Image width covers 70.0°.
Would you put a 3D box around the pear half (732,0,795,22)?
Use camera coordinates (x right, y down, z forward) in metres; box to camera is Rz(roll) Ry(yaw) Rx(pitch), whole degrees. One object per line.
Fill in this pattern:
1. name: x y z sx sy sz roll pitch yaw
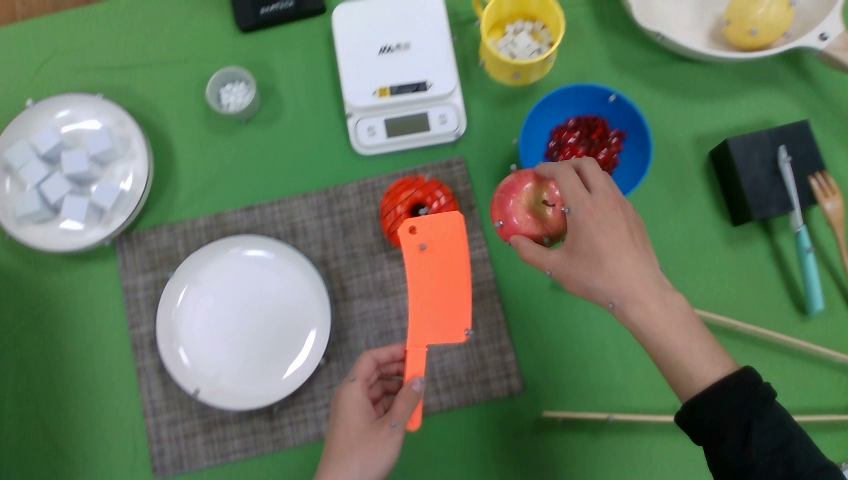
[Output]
1. pear half: 0.417 -0.300 0.736 0.070 0.088 0.031 21 83 9

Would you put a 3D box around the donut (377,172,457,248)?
1. donut: -0.009 -0.034 0.732 0.099 0.048 0.098 -1 81 4

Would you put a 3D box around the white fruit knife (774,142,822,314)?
1. white fruit knife: 0.430 -0.012 0.700 0.016 0.027 0.207 -16 95 1

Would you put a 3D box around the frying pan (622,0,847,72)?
1. frying pan: 0.438 -0.280 0.729 0.307 0.103 0.484 -40 74 -3

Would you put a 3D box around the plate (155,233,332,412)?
1. plate: -0.211 0.096 0.722 0.209 0.038 0.208 0 81 2

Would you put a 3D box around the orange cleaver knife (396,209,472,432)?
1. orange cleaver knife: 0.009 0.071 0.573 0.077 0.012 0.210 4 80 -14

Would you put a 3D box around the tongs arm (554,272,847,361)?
1. tongs arm: 0.339 0.100 0.706 0.387 0.028 0.028 17 76 4

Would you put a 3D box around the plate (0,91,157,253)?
1. plate: -0.435 -0.083 0.762 0.207 0.039 0.207 0 81 2

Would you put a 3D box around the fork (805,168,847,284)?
1. fork: 0.487 0.015 0.701 0.028 0.018 0.207 -23 96 -4

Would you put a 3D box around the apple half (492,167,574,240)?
1. apple half: 0.111 -0.041 0.592 0.081 0.075 0.053 36 80 1

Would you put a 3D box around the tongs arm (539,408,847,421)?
1. tongs arm: 0.327 0.184 0.692 0.385 0.026 0.050 2 78 2

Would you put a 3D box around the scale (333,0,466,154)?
1. scale: -0.033 -0.217 0.773 0.149 0.031 0.200 -9 81 1

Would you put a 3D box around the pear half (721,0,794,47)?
1. pear half: 0.400 -0.270 0.722 0.076 0.110 0.056 23 83 9

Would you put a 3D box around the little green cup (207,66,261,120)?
1. little green cup: -0.239 -0.184 0.772 0.061 0.039 0.061 0 80 2

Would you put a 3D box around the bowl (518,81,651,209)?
1. bowl: 0.183 -0.103 0.724 0.151 0.077 0.151 0 81 2

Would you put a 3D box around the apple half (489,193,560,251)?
1. apple half: 0.089 -0.009 0.586 0.081 0.081 0.033 35 79 8

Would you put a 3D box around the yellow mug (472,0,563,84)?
1. yellow mug: 0.108 -0.265 0.758 0.130 0.064 0.100 44 85 9
